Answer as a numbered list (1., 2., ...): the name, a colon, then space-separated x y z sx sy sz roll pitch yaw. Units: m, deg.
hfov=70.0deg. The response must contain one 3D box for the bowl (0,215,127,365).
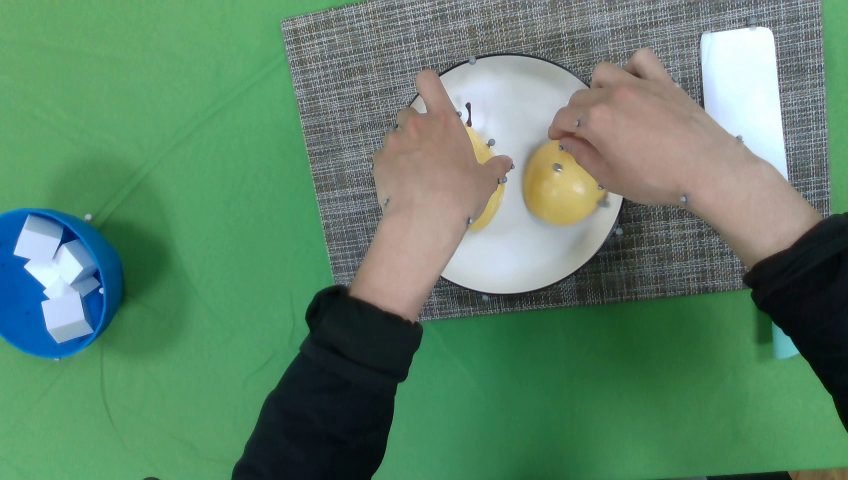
1. bowl: -0.363 0.043 0.619 0.151 0.076 0.152 2 102 10

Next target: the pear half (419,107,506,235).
1. pear half: 0.031 -0.058 0.520 0.076 0.056 0.110 3 102 15

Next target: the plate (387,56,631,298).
1. plate: 0.072 -0.053 0.534 0.207 0.039 0.208 2 102 11

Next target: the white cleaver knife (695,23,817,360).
1. white cleaver knife: 0.279 -0.036 0.512 0.066 0.021 0.287 -11 96 18

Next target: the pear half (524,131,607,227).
1. pear half: 0.123 -0.051 0.519 0.070 0.031 0.088 28 112 3
